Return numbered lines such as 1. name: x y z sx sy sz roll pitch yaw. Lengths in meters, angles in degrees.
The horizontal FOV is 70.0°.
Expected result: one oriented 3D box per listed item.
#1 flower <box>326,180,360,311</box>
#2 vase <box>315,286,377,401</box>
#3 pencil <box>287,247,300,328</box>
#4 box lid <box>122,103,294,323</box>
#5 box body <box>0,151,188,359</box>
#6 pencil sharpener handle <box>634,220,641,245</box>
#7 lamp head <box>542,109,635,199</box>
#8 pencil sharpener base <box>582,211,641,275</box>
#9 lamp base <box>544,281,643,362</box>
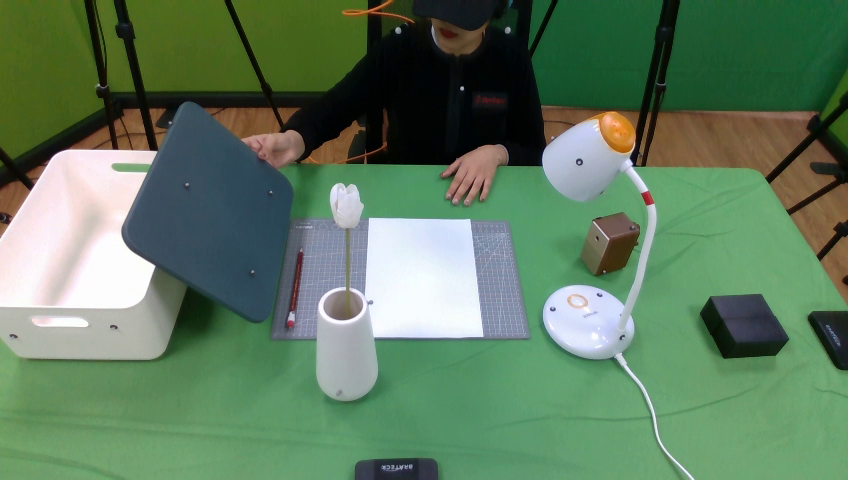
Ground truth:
1. flower: -0.110 0.086 0.868 0.044 0.363 0.038 22 34 36
2. vase: -0.119 0.159 0.911 0.098 0.201 0.097 2 47 -2
3. pencil: -0.236 0.080 1.106 0.012 0.012 0.193 0 45 -4
4. box lid: -0.341 -0.057 1.032 0.015 0.265 0.369 -30 38 24
5. box body: -0.541 0.021 1.042 0.254 0.161 0.361 1 46 -3
6. pencil sharpener handle: 0.405 -0.015 1.161 0.031 0.068 0.035 -15 44 -18
7. lamp head: 0.253 -0.131 0.893 0.113 0.123 0.112 10 66 -24
8. pencil sharpener base: 0.357 0.005 1.155 0.077 0.107 0.061 -15 48 -18
9. lamp base: 0.304 0.095 1.014 0.161 0.181 0.178 -24 54 -24
